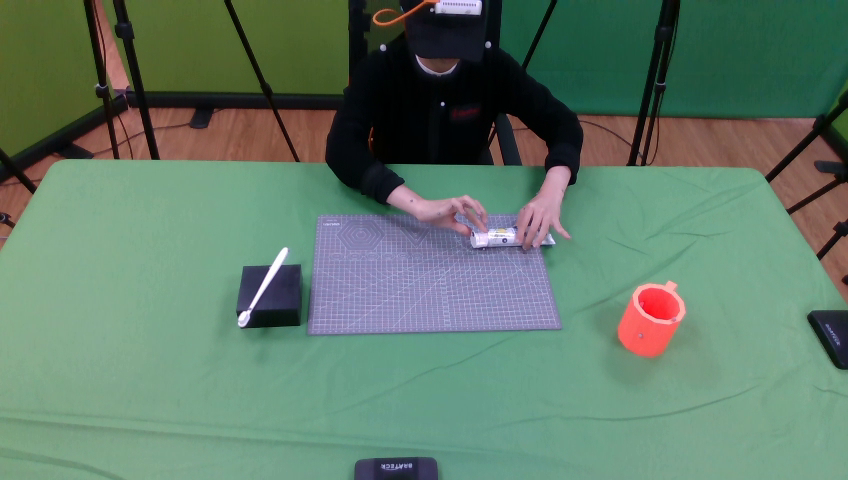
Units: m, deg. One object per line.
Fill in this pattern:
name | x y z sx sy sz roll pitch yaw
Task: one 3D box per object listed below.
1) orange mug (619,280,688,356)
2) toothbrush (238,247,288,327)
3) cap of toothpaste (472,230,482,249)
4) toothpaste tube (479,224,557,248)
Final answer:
orange mug | 0.401 0.125 1.045 0.083 0.101 0.126 30 56 24
toothbrush | -0.274 0.075 1.040 0.014 0.017 0.181 10 46 11
cap of toothpaste | 0.103 -0.002 1.187 0.011 0.037 0.037 -10 48 -15
toothpaste tube | 0.181 -0.006 1.205 0.165 0.034 0.054 -5 52 -14
